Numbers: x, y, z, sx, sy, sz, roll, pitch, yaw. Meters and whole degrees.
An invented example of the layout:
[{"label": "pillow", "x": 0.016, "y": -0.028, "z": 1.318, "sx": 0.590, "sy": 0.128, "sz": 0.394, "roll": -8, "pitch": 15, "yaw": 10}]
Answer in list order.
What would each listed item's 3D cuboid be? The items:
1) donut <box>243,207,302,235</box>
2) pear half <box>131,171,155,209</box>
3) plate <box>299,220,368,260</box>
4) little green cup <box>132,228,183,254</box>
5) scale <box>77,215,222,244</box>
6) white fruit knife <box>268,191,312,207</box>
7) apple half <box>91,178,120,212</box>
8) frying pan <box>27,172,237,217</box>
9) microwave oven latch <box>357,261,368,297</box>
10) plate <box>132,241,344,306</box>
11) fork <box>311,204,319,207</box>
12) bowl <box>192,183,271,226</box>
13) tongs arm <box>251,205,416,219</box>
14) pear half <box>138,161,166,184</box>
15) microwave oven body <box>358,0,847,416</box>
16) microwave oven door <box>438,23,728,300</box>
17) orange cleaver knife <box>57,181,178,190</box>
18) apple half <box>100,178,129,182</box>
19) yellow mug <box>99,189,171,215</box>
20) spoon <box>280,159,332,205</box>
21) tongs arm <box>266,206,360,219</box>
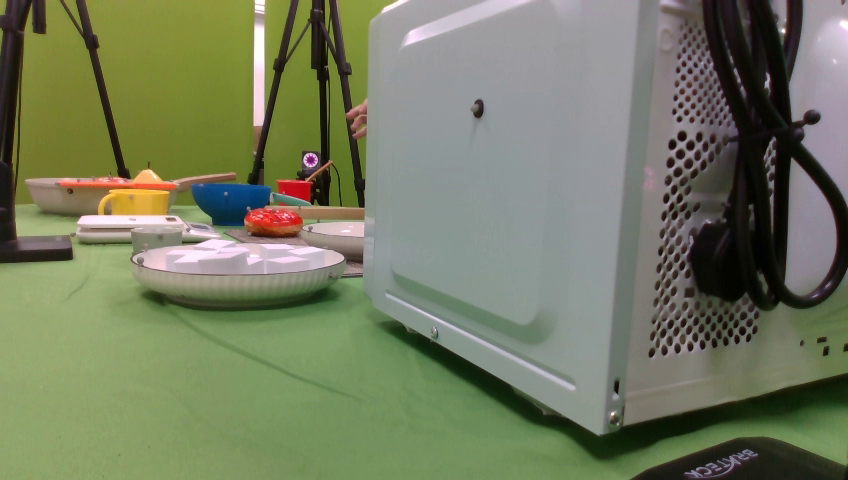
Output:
[{"label": "donut", "x": -0.261, "y": -0.032, "z": 1.043, "sx": 0.099, "sy": 0.048, "sz": 0.099, "roll": 4, "pitch": 9, "yaw": 0}, {"label": "pear half", "x": -0.637, "y": -0.113, "z": 1.360, "sx": 0.031, "sy": 0.088, "sz": 0.070, "roll": 5, "pitch": 11, "yaw": 4}, {"label": "plate", "x": -0.078, "y": -0.001, "z": 0.890, "sx": 0.209, "sy": 0.038, "sz": 0.209, "roll": 3, "pitch": 8, "yaw": 0}, {"label": "little green cup", "x": -0.342, "y": 0.006, "z": 0.779, "sx": 0.061, "sy": 0.038, "sz": 0.061, "roll": 2, "pitch": 8, "yaw": 0}, {"label": "scale", "x": -0.434, "y": -0.019, "z": 0.963, "sx": 0.202, "sy": 0.031, "sz": 0.148, "roll": -1, "pitch": 9, "yaw": -27}, {"label": "white fruit knife", "x": -0.364, "y": -0.105, "z": 1.464, "sx": 0.208, "sy": 0.027, "sz": 0.016, "roll": 15, "pitch": 0, "yaw": -34}, {"label": "apple half", "x": -0.677, "y": -0.096, "z": 1.271, "sx": 0.033, "sy": 0.081, "sz": 0.081, "roll": 7, "pitch": 8, "yaw": 10}, {"label": "frying pan", "x": -0.624, "y": -0.118, "z": 1.387, "sx": 0.305, "sy": 0.102, "sz": 0.490, "roll": 8, "pitch": 17, "yaw": 32}, {"label": "microwave oven latch", "x": -0.019, "y": 0.033, "z": 0.531, "sx": 0.079, "sy": 0.029, "sz": 0.030, "roll": -1, "pitch": 7, "yaw": -27}, {"label": "plate", "x": -0.187, "y": 0.033, "z": 0.625, "sx": 0.208, "sy": 0.039, "sz": 0.207, "roll": 2, "pitch": 8, "yaw": 0}, {"label": "fork", "x": -0.356, "y": -0.105, "z": 1.526, "sx": 0.208, "sy": 0.018, "sz": 0.028, "roll": 16, "pitch": -6, "yaw": -41}, {"label": "bowl", "x": -0.382, "y": -0.071, "z": 1.202, "sx": 0.151, "sy": 0.077, "sz": 0.151, "roll": 3, "pitch": 7, "yaw": 0}, {"label": "tongs arm", "x": -0.211, "y": -0.067, "z": 1.440, "sx": 0.389, "sy": 0.027, "sz": 0.028, "roll": 0, "pitch": -2, "yaw": -17}, {"label": "pear half", "x": -0.602, "y": -0.120, "z": 1.354, "sx": 0.056, "sy": 0.110, "sz": 0.076, "roll": 4, "pitch": 11, "yaw": 5}, {"label": "microwave oven body", "x": 0.211, "y": -0.047, "z": 0.475, "sx": 0.444, "sy": 0.260, "sz": 0.324, "roll": -1, "pitch": 7, "yaw": -28}, {"label": "microwave oven door", "x": 0.181, "y": -0.073, "z": 0.621, "sx": 0.358, "sy": 0.243, "sz": 0.039, "roll": -2, "pitch": 8, "yaw": -29}, {"label": "orange cleaver knife", "x": -0.600, "y": -0.109, "z": 1.189, "sx": 0.212, "sy": 0.012, "sz": 0.077, "roll": -1, "pitch": 11, "yaw": -26}, {"label": "apple half", "x": -0.638, "y": -0.092, "z": 1.265, "sx": 0.053, "sy": 0.074, "sz": 0.081, "roll": 7, "pitch": 5, "yaw": 10}, {"label": "yellow mug", "x": -0.518, "y": -0.055, "z": 1.080, "sx": 0.099, "sy": 0.064, "sz": 0.131, "roll": 6, "pitch": 9, "yaw": 26}, {"label": "spoon", "x": -0.316, "y": -0.159, "z": 1.640, "sx": 0.194, "sy": 0.022, "sz": 0.041, "roll": -50, "pitch": 31, "yaw": -20}, {"label": "tongs arm", "x": -0.173, "y": -0.061, "z": 1.362, "sx": 0.387, "sy": 0.026, "sz": 0.050, "roll": -1, "pitch": 2, "yaw": -31}]
